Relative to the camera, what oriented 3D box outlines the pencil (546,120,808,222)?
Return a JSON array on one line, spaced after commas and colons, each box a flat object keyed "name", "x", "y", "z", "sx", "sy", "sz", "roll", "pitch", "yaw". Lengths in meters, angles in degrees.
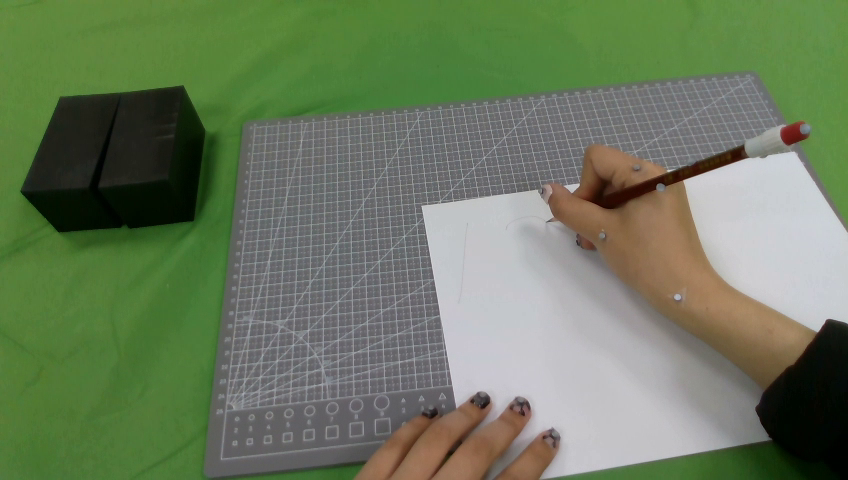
[{"name": "pencil", "x": 0.134, "y": -0.033, "z": 0.366, "sx": 0.012, "sy": 0.193, "sz": 0.012, "roll": 6, "pitch": 76, "yaw": -26}]
